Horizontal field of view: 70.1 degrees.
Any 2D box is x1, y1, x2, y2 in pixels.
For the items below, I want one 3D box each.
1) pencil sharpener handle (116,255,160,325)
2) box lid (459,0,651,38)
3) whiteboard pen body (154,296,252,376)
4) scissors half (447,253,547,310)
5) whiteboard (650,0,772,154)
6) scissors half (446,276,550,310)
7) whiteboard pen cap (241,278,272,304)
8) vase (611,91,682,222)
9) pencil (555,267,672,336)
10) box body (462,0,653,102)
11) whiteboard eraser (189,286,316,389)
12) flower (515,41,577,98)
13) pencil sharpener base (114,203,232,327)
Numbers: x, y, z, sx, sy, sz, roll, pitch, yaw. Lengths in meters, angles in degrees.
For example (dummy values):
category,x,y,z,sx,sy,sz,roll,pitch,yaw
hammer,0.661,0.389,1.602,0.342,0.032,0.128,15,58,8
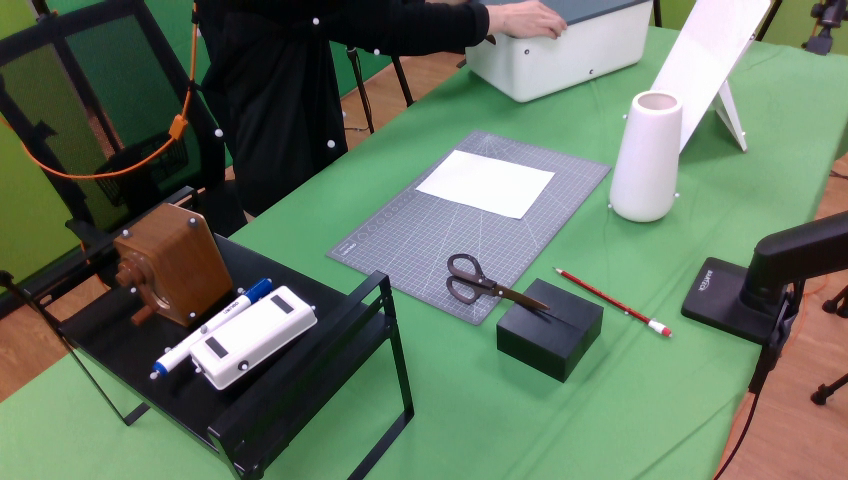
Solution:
category,x,y,z,sx,sy,sz,roll,pitch,yaw
pencil sharpener handle,-0.286,0.050,0.594,0.035,0.068,0.031,7,41,35
box lid,0.290,-0.527,1.326,0.373,0.015,0.261,-22,43,-18
whiteboard pen body,-0.215,0.088,0.619,0.017,0.017,0.141,19,42,28
scissors half,0.098,0.058,0.821,0.173,0.040,0.013,27,34,36
whiteboard,0.543,-0.298,1.076,0.144,0.305,0.216,12,40,-7
scissors half,0.098,0.077,0.827,0.174,0.040,0.013,6,14,44
whiteboard pen cap,-0.184,0.057,0.658,0.018,0.018,0.033,19,44,28
vase,0.348,-0.125,0.935,0.098,0.201,0.097,-3,40,3
pencil,0.260,0.082,0.850,0.012,0.012,0.192,-33,45,-27
box body,0.296,-0.470,1.373,0.365,0.161,0.252,-22,42,-18
whiteboard eraser,-0.166,0.096,0.593,0.113,0.042,0.055,-36,46,-29
flower,0.298,-0.410,1.413,0.044,0.038,0.362,-16,22,41
pencil sharpener base,-0.262,0.029,0.635,0.061,0.107,0.077,18,47,26
